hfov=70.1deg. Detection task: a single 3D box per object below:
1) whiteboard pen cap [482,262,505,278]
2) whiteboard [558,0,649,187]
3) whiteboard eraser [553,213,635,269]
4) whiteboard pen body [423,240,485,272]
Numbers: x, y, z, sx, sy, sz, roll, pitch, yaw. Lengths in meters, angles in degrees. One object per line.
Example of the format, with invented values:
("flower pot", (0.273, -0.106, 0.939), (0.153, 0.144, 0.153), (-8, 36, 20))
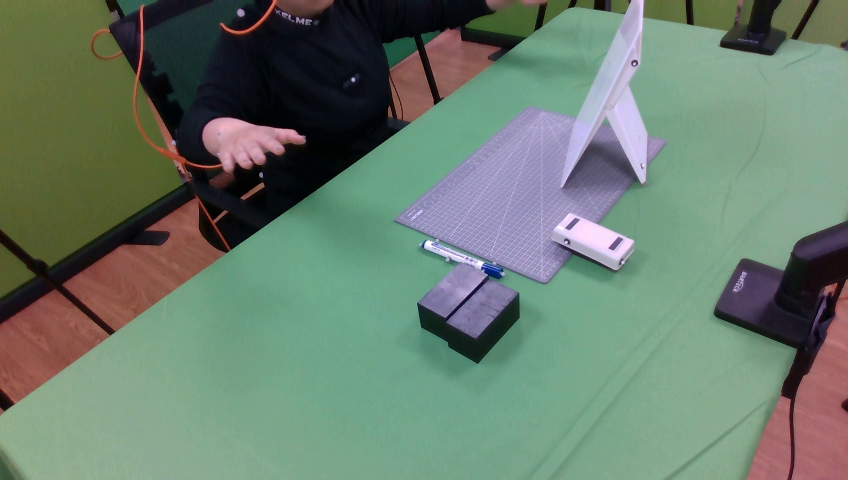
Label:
("whiteboard pen cap", (0.104, 0.044, 0.912), (0.033, 0.018, 0.018), (22, 49, 29))
("whiteboard", (0.361, -0.238, 1.026), (0.144, 0.306, 0.217), (21, 44, 3))
("whiteboard eraser", (0.257, 0.003, 0.918), (0.112, 0.042, 0.056), (27, 49, 30))
("whiteboard pen body", (0.057, 0.027, 0.942), (0.139, 0.017, 0.017), (22, 48, 30))
